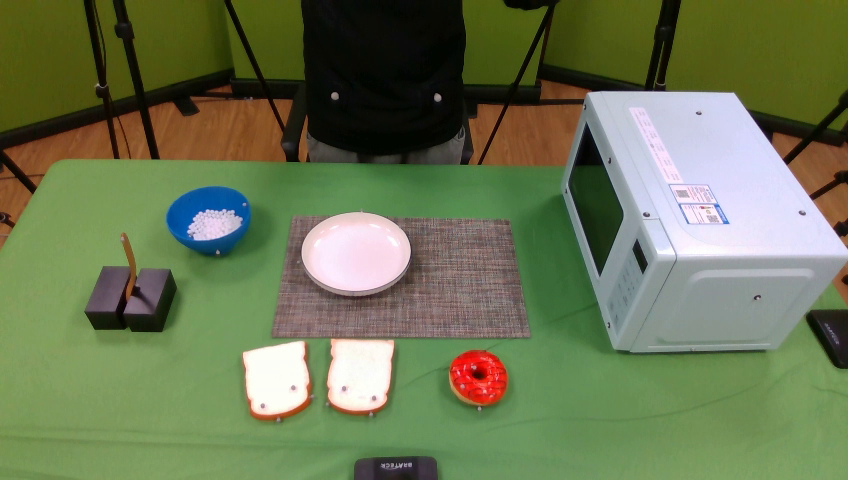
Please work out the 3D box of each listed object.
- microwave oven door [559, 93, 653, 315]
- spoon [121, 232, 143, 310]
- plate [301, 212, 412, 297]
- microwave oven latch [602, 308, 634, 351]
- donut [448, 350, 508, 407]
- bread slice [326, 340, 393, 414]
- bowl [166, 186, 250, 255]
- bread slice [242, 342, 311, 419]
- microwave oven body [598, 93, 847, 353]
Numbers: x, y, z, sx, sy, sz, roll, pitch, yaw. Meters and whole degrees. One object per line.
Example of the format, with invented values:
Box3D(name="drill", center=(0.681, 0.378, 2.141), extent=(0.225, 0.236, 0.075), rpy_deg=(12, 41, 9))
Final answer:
Box3D(name="microwave oven door", center=(0.327, -0.074, 1.123), extent=(0.039, 0.245, 0.353), rpy_deg=(-1, 46, -5))
Box3D(name="spoon", center=(-0.478, 0.051, 0.993), extent=(0.022, 0.194, 0.041), rpy_deg=(12, 46, -11))
Box3D(name="plate", center=(-0.126, 0.031, 1.145), extent=(0.208, 0.039, 0.206), rpy_deg=(2, 45, -2))
Box3D(name="microwave oven latch", center=(0.332, 0.153, 1.044), extent=(0.030, 0.029, 0.078), rpy_deg=(-1, 45, -4))
Box3D(name="donut", center=(0.087, 0.223, 0.977), extent=(0.099, 0.048, 0.098), rpy_deg=(4, 46, -4))
Box3D(name="bread slice", center=(-0.104, 0.219, 0.983), extent=(0.107, 0.018, 0.133), rpy_deg=(0, 45, -4))
Box3D(name="bowl", center=(-0.403, -0.024, 1.154), extent=(0.151, 0.077, 0.150), rpy_deg=(2, 46, -2))
Box3D(name="bread slice", center=(-0.234, 0.223, 0.970), extent=(0.105, 0.019, 0.130), rpy_deg=(-10, 47, -13))
Box3D(name="microwave oven body", center=(0.475, -0.041, 1.110), extent=(0.326, 0.261, 0.438), rpy_deg=(-1, 45, -4))
